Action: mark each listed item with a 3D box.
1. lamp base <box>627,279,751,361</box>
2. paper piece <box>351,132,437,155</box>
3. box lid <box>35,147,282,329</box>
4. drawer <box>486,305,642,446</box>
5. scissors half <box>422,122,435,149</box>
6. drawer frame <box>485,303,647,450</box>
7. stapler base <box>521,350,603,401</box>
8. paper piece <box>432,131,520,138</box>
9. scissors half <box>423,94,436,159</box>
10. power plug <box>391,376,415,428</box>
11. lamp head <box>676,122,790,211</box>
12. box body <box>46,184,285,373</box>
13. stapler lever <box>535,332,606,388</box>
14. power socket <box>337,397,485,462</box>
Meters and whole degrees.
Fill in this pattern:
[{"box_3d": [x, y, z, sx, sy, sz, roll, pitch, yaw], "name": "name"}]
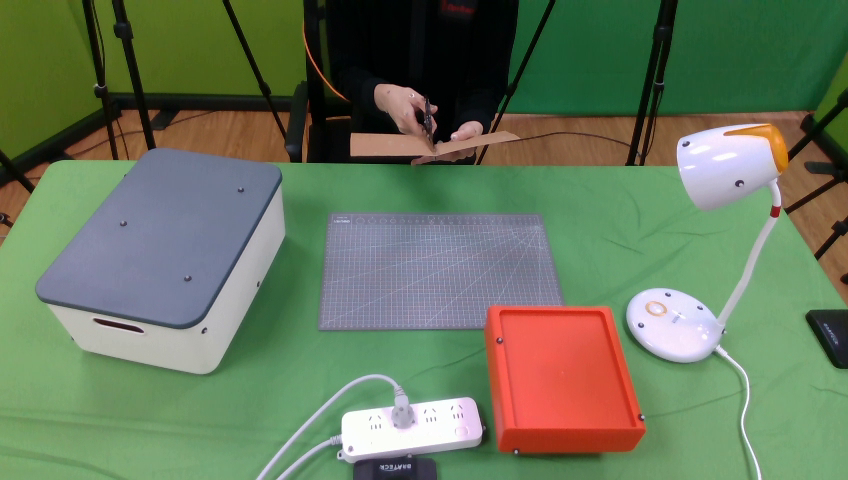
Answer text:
[{"box_3d": [0.460, 0.100, 1.027, 0.178, 0.181, 0.160, 27, 51, 17], "name": "lamp base"}, {"box_3d": [-0.052, -0.160, 0.992, 0.135, 0.004, 0.135, -1, 24, -4], "name": "paper piece"}, {"box_3d": [-0.411, -0.023, 0.987, 0.263, 0.015, 0.369, 10, 47, 5], "name": "box lid"}, {"box_3d": [0.202, 0.200, 0.919, 0.195, 0.073, 0.210, 2, 47, -4], "name": "drawer"}, {"box_3d": [0.009, -0.174, 1.037, 0.013, 0.040, 0.174, 0, 17, -5], "name": "scissors half"}, {"box_3d": [0.204, 0.202, 0.917, 0.202, 0.083, 0.212, 1, 47, -4], "name": "drawer frame"}, {"box_3d": [0.217, 0.203, 0.942, 0.130, 0.024, 0.041, 26, 34, 16], "name": "stapler base"}, {"box_3d": [0.081, -0.174, 1.003, 0.136, 0.008, 0.138, 1, 13, -1], "name": "paper piece"}, {"box_3d": [0.009, -0.194, 1.025, 0.013, 0.040, 0.174, -4, 49, -3], "name": "scissors half"}, {"box_3d": [-0.030, 0.249, 0.917, 0.035, 0.053, 0.072, 3, 46, 0], "name": "power plug"}, {"box_3d": [0.423, -0.104, 0.819, 0.122, 0.113, 0.112, -13, 33, 40], "name": "lamp head"}, {"box_3d": [-0.414, 0.029, 1.040, 0.254, 0.161, 0.362, 10, 46, 5], "name": "box body"}, {"box_3d": [0.225, 0.182, 0.929, 0.118, 0.040, 0.027, 27, 34, 15], "name": "stapler lever"}, {"box_3d": [-0.018, 0.285, 0.915, 0.227, 0.033, 0.071, -4, 46, -8], "name": "power socket"}]
